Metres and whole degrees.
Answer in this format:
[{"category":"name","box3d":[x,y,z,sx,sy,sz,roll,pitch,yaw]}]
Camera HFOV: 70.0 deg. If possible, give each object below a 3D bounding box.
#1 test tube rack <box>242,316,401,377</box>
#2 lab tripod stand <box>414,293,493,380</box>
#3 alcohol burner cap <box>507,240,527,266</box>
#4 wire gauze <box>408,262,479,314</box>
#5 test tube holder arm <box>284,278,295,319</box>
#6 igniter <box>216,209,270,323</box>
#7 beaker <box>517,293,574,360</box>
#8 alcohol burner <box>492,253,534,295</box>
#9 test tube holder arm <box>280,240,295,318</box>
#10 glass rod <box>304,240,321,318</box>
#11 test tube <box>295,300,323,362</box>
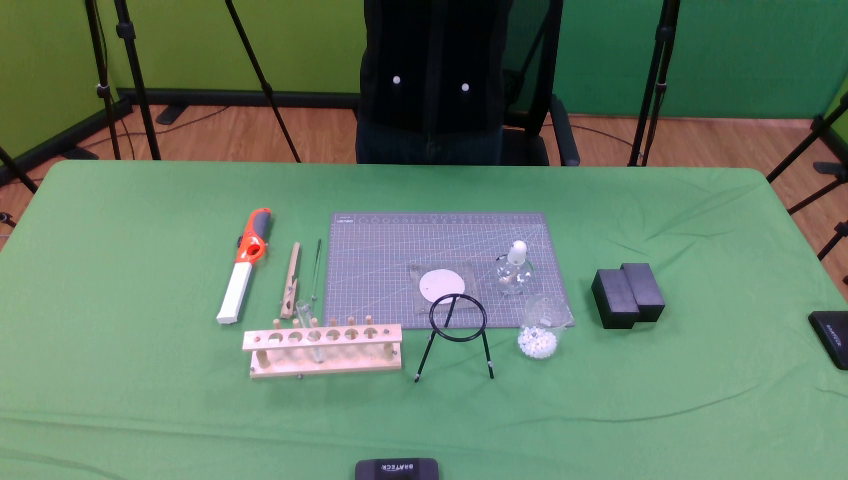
[{"category":"test tube rack","box3d":[-0.161,0.166,0.983,0.242,0.085,0.066,-2,46,-6]},{"category":"lab tripod stand","box3d":[0.052,0.159,0.972,0.148,0.132,0.147,4,46,-4]},{"category":"alcohol burner cap","box3d":[0.167,0.021,1.075,0.034,0.048,0.033,1,55,-1]},{"category":"wire gauze","box3d":[0.036,0.085,1.127,0.121,0.011,0.124,-2,43,-6]},{"category":"test tube holder arm","box3d":[-0.242,0.103,1.085,0.010,0.015,0.087,28,37,-30]},{"category":"igniter","box3d":[-0.335,0.039,1.132,0.057,0.025,0.275,-3,46,6]},{"category":"beaker","box3d":[0.200,0.149,1.018,0.084,0.101,0.073,14,47,8]},{"category":"alcohol burner","box3d":[0.165,0.045,1.103,0.078,0.119,0.077,3,47,-3]},{"category":"test tube holder arm","box3d":[-0.250,0.068,1.113,0.013,0.015,0.177,27,38,-32]},{"category":"glass rod","box3d":[-0.207,0.068,1.128,0.008,0.008,0.198,2,43,-2]},{"category":"test tube","box3d":[-0.176,0.143,0.935,0.017,0.151,0.017,-2,46,2]}]
